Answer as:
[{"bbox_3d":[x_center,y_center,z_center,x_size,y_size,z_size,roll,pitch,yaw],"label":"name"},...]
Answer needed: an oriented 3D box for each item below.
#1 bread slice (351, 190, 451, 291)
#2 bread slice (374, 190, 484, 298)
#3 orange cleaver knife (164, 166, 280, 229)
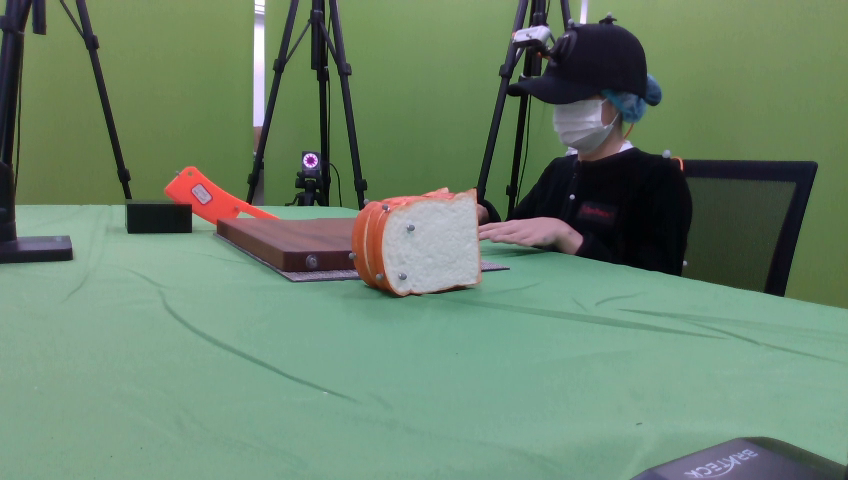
[{"bbox_3d":[-0.022,0.001,0.679,0.132,0.105,0.019,-10,10,-33],"label":"bread slice"},{"bbox_3d":[0.008,0.009,0.639,0.135,0.107,0.018,-13,9,-36],"label":"bread slice"},{"bbox_3d":[-0.370,-0.061,1.121,0.212,0.077,0.012,31,-9,-29],"label":"orange cleaver knife"}]
